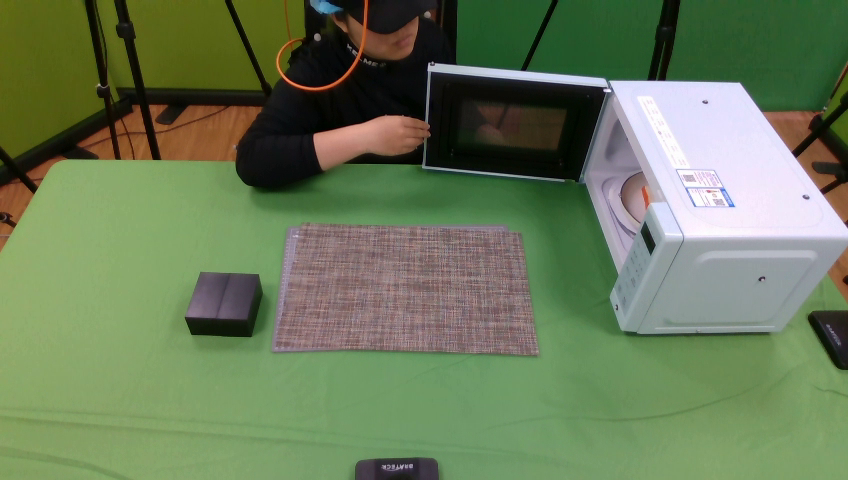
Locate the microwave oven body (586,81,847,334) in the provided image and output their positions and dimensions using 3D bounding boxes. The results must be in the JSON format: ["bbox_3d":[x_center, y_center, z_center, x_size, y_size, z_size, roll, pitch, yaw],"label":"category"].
[{"bbox_3d":[0.501,-0.070,1.132,0.326,0.261,0.438,-1,45,-3],"label":"microwave oven body"}]

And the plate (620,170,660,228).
[{"bbox_3d":[0.489,-0.060,1.194,0.209,0.038,0.208,3,45,-2],"label":"plate"}]

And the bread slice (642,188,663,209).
[{"bbox_3d":[0.493,-0.056,1.196,0.105,0.019,0.131,6,42,3],"label":"bread slice"}]

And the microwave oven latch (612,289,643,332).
[{"bbox_3d":[0.357,0.124,1.068,0.030,0.029,0.078,0,45,-3],"label":"microwave oven latch"}]

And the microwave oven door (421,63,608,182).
[{"bbox_3d":[0.178,-0.241,1.268,0.356,0.245,0.039,5,46,1],"label":"microwave oven door"}]
